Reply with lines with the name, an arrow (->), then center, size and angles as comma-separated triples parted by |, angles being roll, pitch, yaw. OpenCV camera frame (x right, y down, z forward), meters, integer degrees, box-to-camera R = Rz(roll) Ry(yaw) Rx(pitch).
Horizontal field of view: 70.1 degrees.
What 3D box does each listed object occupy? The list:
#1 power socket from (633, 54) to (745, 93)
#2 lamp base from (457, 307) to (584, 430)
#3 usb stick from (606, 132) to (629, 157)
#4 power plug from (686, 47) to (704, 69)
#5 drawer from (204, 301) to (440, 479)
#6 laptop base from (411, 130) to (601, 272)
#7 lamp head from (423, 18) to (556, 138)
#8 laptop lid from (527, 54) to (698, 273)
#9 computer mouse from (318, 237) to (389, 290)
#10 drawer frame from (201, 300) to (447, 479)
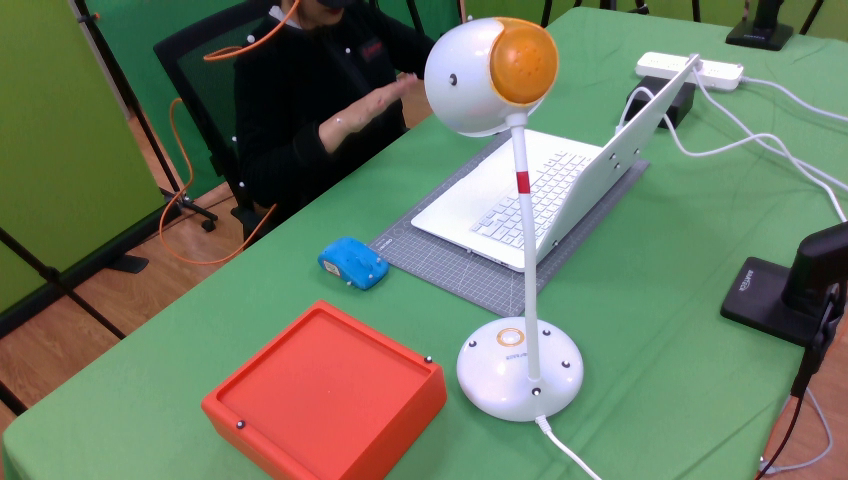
power socket -> 0.563, -0.358, 1.295 | 0.225, 0.033, 0.072 | 21, 50, 30
lamp base -> 0.115, 0.108, 0.713 | 0.161, 0.181, 0.178 | -17, 43, -8
usb stick -> 0.353, -0.174, 1.109 | 0.021, 0.027, 0.059 | 23, 49, 32
power plug -> 0.564, -0.384, 1.248 | 0.035, 0.073, 0.052 | 22, 71, 15
drawer -> -0.119, 0.193, 0.735 | 0.210, 0.073, 0.195 | 23, 49, 32
laptop base -> 0.175, -0.083, 1.054 | 0.233, 0.023, 0.355 | 21, 49, 36
lamp head -> 0.069, -0.151, 0.563 | 0.113, 0.113, 0.122 | -21, 18, -13
laptop lid -> 0.281, -0.113, 0.896 | 0.013, 0.242, 0.358 | 38, 55, 17
computer mouse -> -0.113, 0.033, 0.959 | 0.116, 0.041, 0.063 | 27, 51, 31
drawer frame -> -0.117, 0.193, 0.733 | 0.212, 0.083, 0.202 | 23, 48, 32
